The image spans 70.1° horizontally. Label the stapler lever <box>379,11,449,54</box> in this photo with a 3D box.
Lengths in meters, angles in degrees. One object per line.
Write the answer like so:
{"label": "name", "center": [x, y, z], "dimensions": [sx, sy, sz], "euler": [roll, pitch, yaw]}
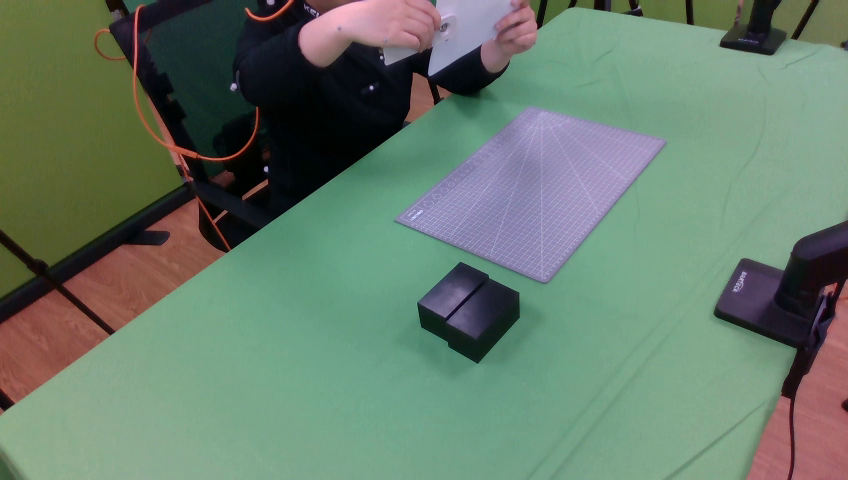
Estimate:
{"label": "stapler lever", "center": [-0.016, -0.315, 0.914], "dimensions": [0.118, 0.027, 0.040], "euler": [-19, 61, -14]}

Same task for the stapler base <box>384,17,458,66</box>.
{"label": "stapler base", "center": [-0.008, -0.305, 0.910], "dimensions": [0.131, 0.041, 0.024], "euler": [-30, 63, -19]}
